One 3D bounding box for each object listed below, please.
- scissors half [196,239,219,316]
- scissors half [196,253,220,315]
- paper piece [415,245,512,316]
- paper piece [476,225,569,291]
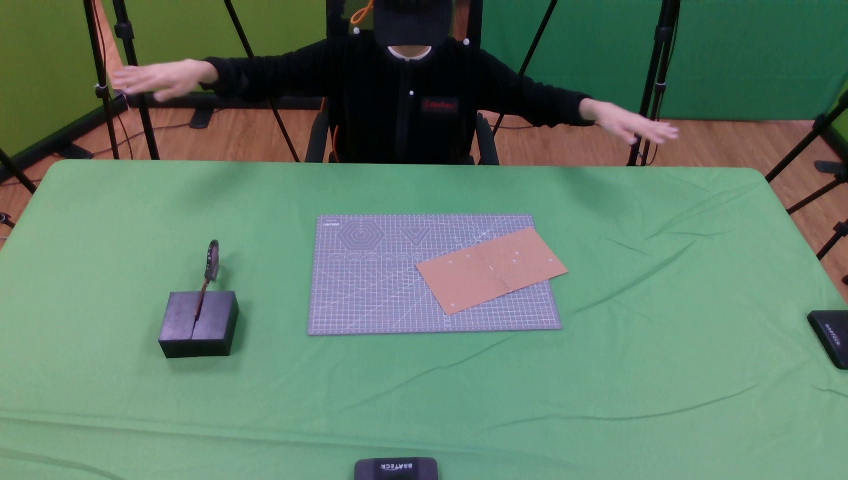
[{"bbox_3d":[-0.375,0.063,1.049,0.013,0.040,0.174,7,46,-12],"label":"scissors half"},{"bbox_3d":[-0.379,0.078,1.062,0.013,0.040,0.174,3,29,-8],"label":"scissors half"},{"bbox_3d":[0.072,0.071,1.140,0.138,0.009,0.135,-18,46,-18],"label":"paper piece"},{"bbox_3d":[0.192,0.033,1.185,0.136,0.004,0.134,-17,51,-19],"label":"paper piece"}]
